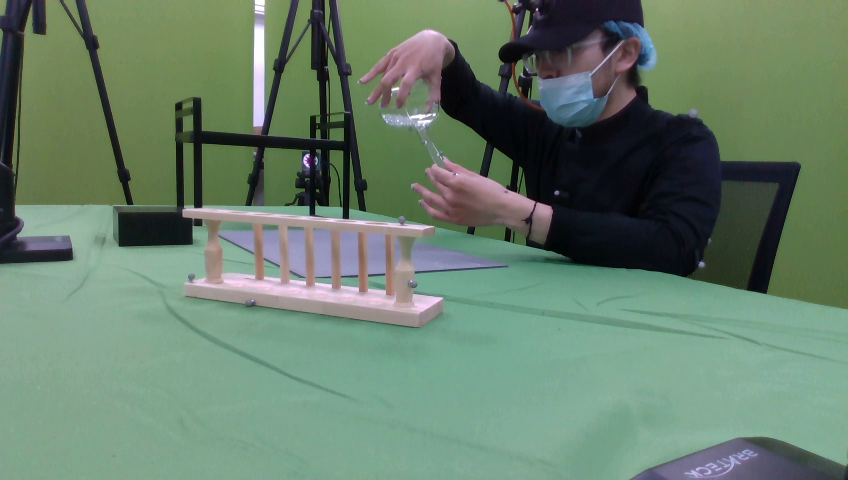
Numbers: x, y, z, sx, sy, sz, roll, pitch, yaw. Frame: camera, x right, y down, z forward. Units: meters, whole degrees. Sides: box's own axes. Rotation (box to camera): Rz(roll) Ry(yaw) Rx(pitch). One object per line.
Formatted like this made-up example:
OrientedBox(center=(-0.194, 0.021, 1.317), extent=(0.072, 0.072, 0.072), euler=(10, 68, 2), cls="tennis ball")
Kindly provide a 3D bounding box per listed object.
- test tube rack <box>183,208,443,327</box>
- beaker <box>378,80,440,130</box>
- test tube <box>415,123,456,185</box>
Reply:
OrientedBox(center=(-0.106, 0.019, 0.570), extent=(0.241, 0.085, 0.067), euler=(5, 8, 19), cls="test tube rack")
OrientedBox(center=(-0.030, -0.237, 1.074), extent=(0.074, 0.084, 0.100), euler=(2, 6, -35), cls="beaker")
OrientedBox(center=(0.018, -0.143, 0.996), extent=(0.017, 0.017, 0.150), euler=(-2, 47, -30), cls="test tube")
